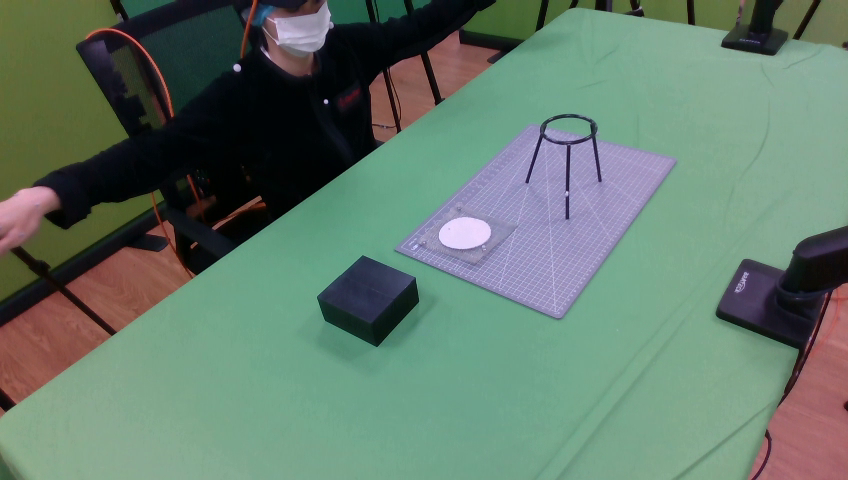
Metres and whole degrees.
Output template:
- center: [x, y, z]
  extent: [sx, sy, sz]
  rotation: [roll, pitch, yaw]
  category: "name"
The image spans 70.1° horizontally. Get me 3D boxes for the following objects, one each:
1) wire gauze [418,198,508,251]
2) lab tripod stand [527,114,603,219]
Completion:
- center: [0.065, -0.028, 0.983]
  extent: [0.124, 0.011, 0.121]
  rotation: [2, 42, 22]
  category: "wire gauze"
- center: [0.234, -0.129, 1.002]
  extent: [0.148, 0.132, 0.147]
  rotation: [-6, 40, 6]
  category: "lab tripod stand"
